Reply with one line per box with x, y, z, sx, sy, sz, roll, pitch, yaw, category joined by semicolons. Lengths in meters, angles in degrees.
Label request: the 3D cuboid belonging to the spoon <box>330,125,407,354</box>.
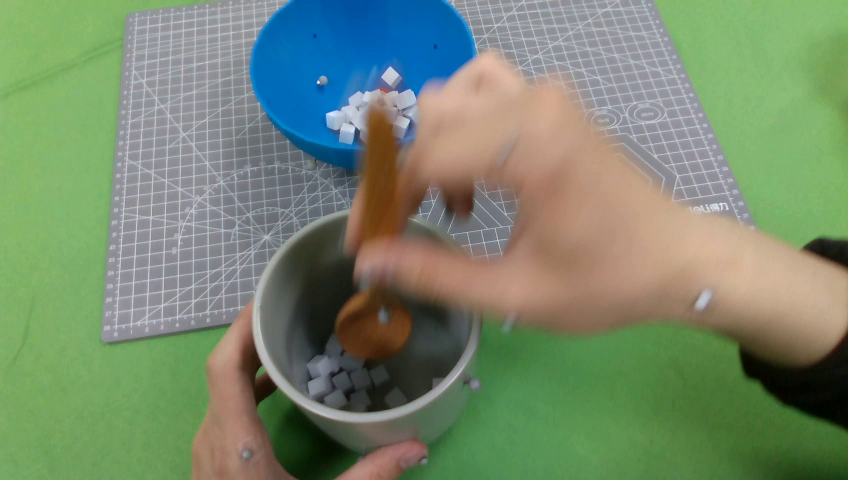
-0.023;0.015;0.258;0.042;0.195;0.021;-5;66;-8;spoon

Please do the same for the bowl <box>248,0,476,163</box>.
-0.040;-0.107;0.432;0.151;0.077;0.150;0;64;1;bowl

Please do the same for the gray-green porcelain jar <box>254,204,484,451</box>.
-0.023;0.055;0.330;0.106;0.127;0.105;0;64;1;gray-green porcelain jar
